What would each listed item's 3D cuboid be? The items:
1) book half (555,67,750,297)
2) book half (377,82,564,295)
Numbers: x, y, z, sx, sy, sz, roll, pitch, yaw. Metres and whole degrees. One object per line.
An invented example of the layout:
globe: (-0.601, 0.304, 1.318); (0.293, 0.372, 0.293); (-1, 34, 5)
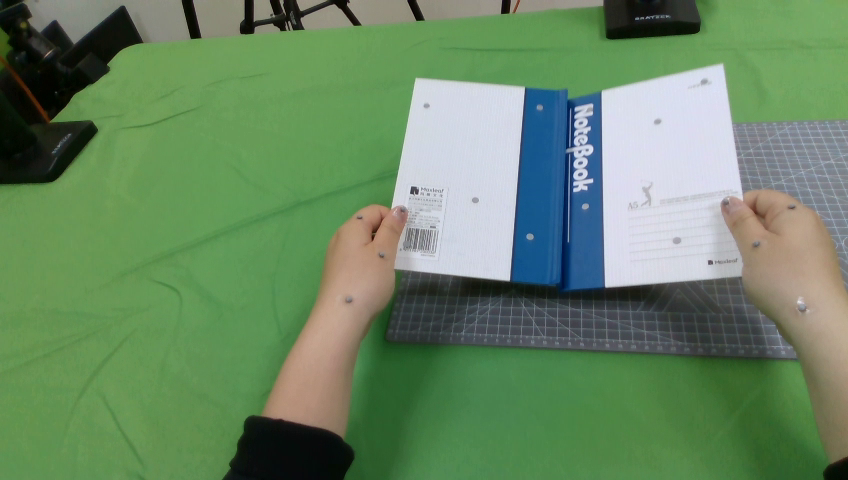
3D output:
book half: (0.183, -0.052, 0.512); (0.142, 0.007, 0.208); (-8, 57, 26)
book half: (0.047, -0.054, 0.541); (0.148, 0.016, 0.208); (6, 62, 4)
